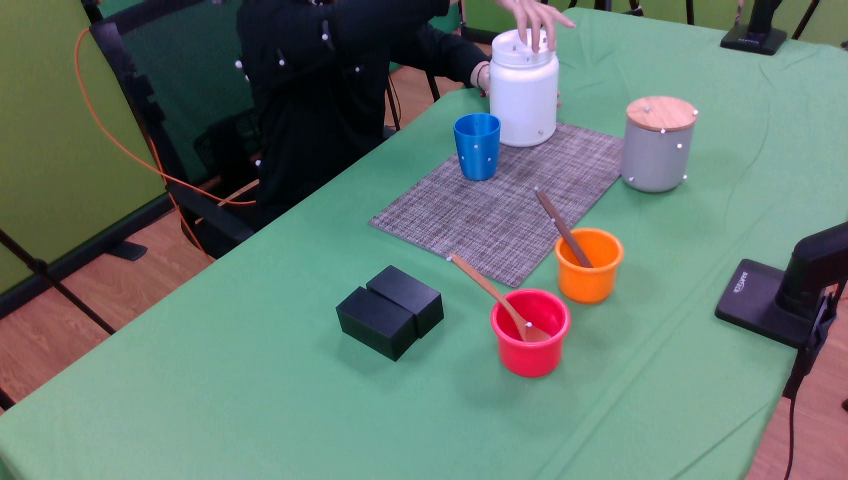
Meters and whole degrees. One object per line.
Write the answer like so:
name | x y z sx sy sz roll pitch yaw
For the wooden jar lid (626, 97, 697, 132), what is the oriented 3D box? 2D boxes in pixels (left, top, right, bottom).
wooden jar lid | 0.381 -0.198 0.976 0.108 0.021 0.108 -2 40 3

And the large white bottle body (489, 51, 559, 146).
large white bottle body | 0.190 -0.287 1.152 0.130 0.185 0.130 -4 41 4

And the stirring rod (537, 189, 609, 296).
stirring rod | 0.210 0.003 0.855 0.014 0.006 0.176 -32 89 -30

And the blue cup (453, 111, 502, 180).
blue cup | 0.097 -0.166 1.088 0.092 0.100 0.092 -3 41 3

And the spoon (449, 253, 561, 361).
spoon | 0.103 0.083 0.770 0.194 0.021 0.042 47 51 -7

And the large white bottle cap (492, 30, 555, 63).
large white bottle cap | 0.180 -0.352 1.097 0.115 0.018 0.114 -4 40 4

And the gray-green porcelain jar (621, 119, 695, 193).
gray-green porcelain jar | 0.389 -0.152 1.016 0.106 0.127 0.105 -4 40 4
